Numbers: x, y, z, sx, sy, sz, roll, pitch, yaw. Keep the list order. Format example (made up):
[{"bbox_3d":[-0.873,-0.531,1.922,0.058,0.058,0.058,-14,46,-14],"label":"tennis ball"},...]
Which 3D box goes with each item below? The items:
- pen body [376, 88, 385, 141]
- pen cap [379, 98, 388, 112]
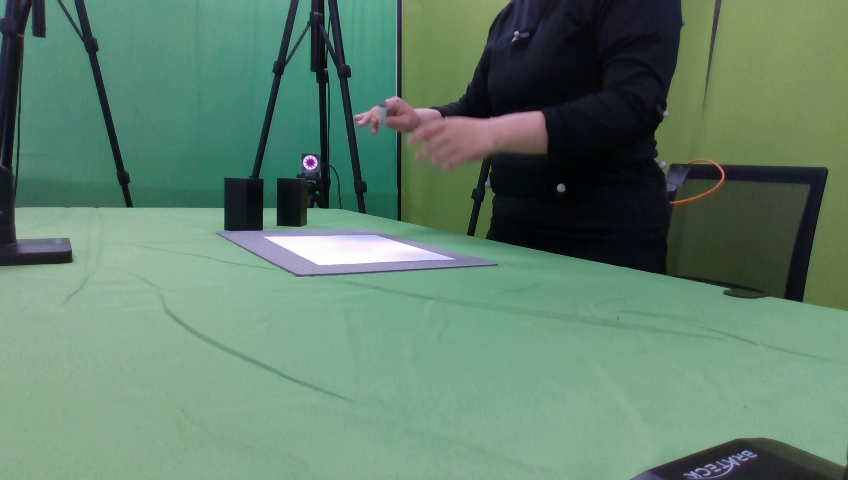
[{"bbox_3d":[-0.084,-0.240,1.157,0.017,0.017,0.144,2,-29,-4],"label":"pen body"},{"bbox_3d":[-0.073,-0.244,1.093,0.017,0.017,0.038,2,-5,-4],"label":"pen cap"}]
